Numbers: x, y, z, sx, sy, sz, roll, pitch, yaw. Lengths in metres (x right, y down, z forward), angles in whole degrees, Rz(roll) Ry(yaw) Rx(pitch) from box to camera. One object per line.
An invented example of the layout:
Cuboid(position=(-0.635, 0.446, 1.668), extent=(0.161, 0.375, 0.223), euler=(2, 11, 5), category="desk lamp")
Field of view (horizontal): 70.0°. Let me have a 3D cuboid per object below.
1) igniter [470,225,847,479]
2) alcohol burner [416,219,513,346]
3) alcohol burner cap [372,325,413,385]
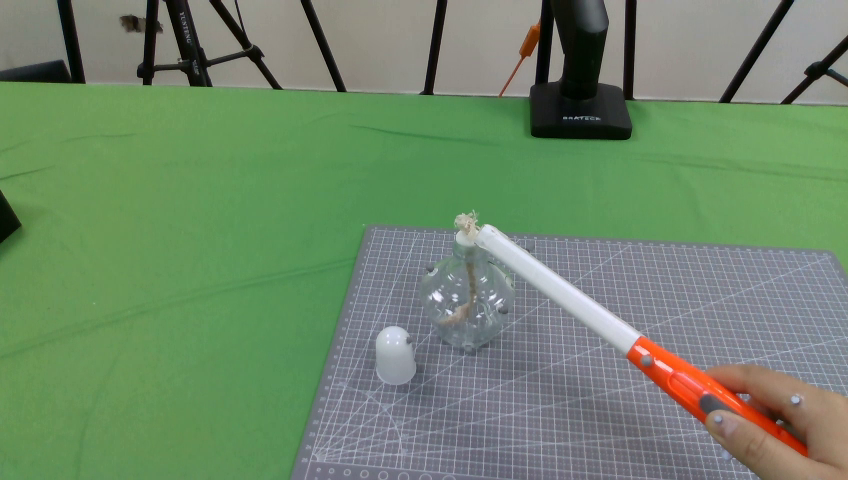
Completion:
Cuboid(position=(0.136, 0.071, 0.364), extent=(0.274, 0.058, 0.025), euler=(38, 99, 30), category="igniter")
Cuboid(position=(0.033, 0.029, 0.478), extent=(0.078, 0.120, 0.077), euler=(0, 43, 0), category="alcohol burner")
Cuboid(position=(-0.025, 0.086, 0.469), extent=(0.034, 0.048, 0.033), euler=(0, 42, 1), category="alcohol burner cap")
